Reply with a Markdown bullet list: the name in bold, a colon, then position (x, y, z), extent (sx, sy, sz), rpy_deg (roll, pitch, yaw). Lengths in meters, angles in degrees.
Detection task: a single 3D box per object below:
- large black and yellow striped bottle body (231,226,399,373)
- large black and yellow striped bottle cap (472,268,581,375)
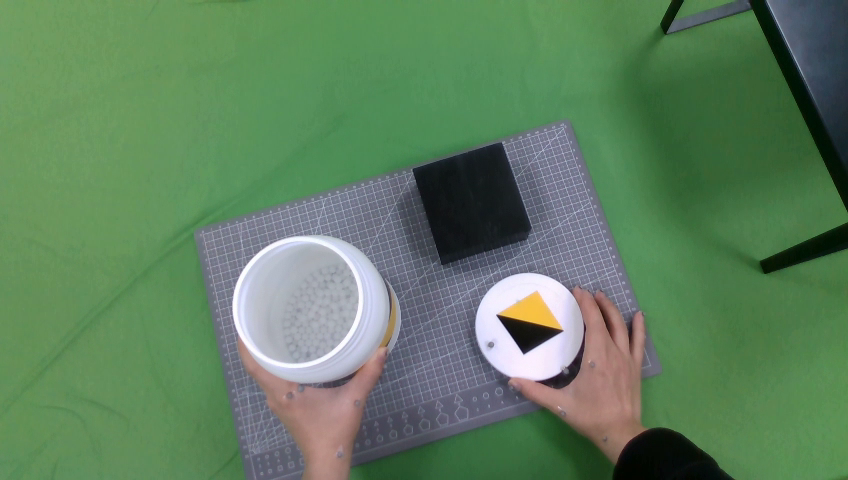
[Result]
- **large black and yellow striped bottle body**: position (-0.097, 0.061, 0.576), extent (0.131, 0.185, 0.130), rpy_deg (-1, 78, 4)
- **large black and yellow striped bottle cap**: position (0.108, 0.086, 0.645), extent (0.115, 0.019, 0.114), rpy_deg (-1, 78, 3)
